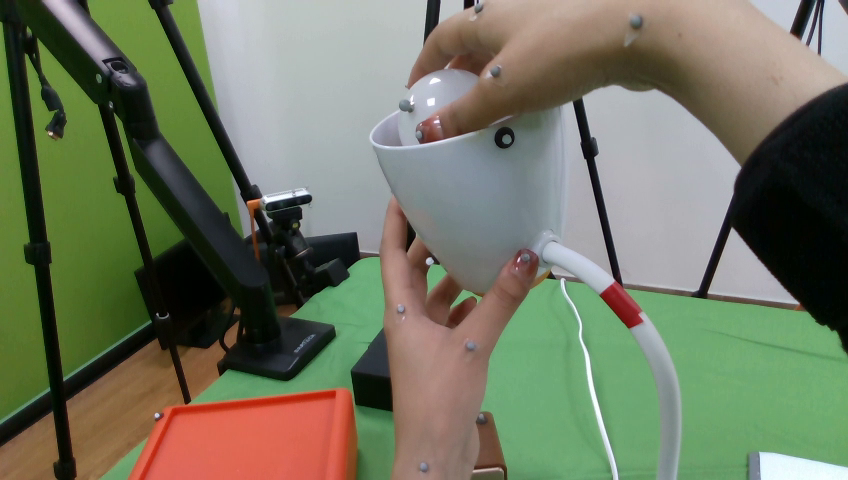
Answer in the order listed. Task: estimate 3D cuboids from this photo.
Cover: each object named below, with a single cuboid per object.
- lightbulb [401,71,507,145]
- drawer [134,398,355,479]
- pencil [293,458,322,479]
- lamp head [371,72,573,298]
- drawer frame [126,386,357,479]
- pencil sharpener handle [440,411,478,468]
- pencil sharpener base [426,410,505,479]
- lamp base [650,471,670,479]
[{"bbox_3d":[0.028,-0.044,0.347,0.059,0.108,0.059,-27,18,10],"label":"lightbulb"},{"bbox_3d":[-0.166,0.240,0.550,0.194,0.074,0.210,-6,23,-2],"label":"drawer"},{"bbox_3d":[-0.163,0.256,0.523,0.194,0.012,0.012,-36,37,-31],"label":"pencil"},{"bbox_3d":[0.041,-0.026,0.361,0.112,0.124,0.111,-19,21,8],"label":"lamp head"},{"bbox_3d":[-0.168,0.238,0.552,0.202,0.083,0.212,-6,23,-2],"label":"drawer frame"},{"bbox_3d":[0.031,0.184,0.579,0.036,0.068,0.030,0,24,-4],"label":"pencil sharpener handle"},{"bbox_3d":[0.037,0.215,0.537,0.061,0.108,0.076,-6,24,-2],"label":"pencil sharpener base"},{"bbox_3d":[0.150,0.245,0.357,0.161,0.181,0.178,-8,21,-5],"label":"lamp base"}]
